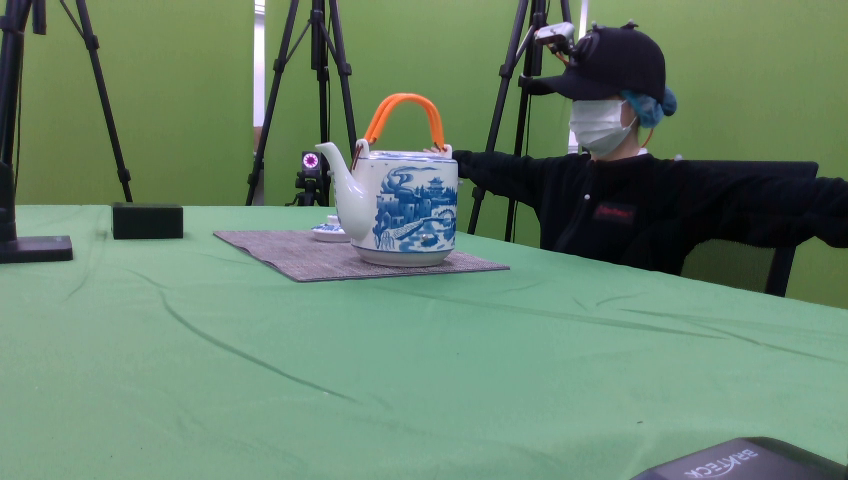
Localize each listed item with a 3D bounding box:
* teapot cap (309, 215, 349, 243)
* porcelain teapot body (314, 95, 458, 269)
[{"bbox_3d":[-0.151,-0.020,1.014,0.085,0.044,0.085,3,10,0],"label":"teapot cap"},{"bbox_3d":[-0.049,-0.079,0.800,0.206,0.225,0.144,-3,9,-37],"label":"porcelain teapot body"}]
